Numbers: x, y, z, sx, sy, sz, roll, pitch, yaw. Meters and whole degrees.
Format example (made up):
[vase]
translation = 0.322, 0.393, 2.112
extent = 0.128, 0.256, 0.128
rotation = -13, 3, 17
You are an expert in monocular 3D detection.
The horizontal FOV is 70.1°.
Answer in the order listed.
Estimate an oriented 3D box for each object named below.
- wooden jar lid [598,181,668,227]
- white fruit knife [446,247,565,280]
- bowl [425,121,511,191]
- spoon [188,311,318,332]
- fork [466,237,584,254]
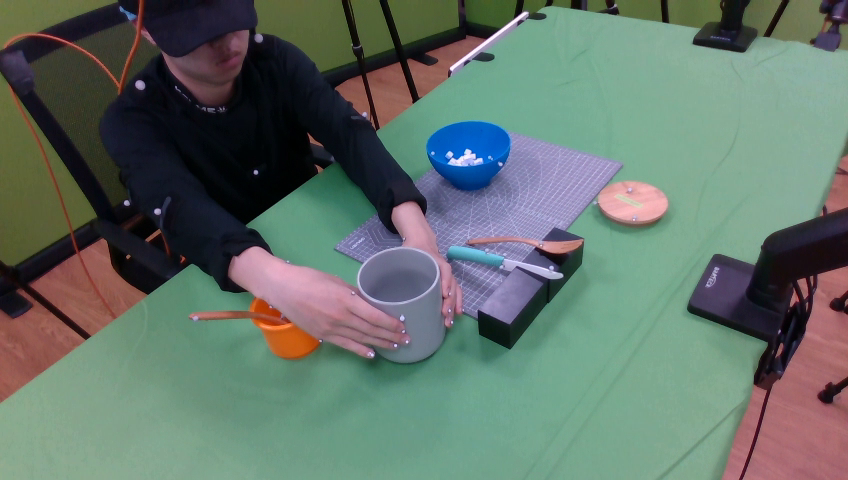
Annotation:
[wooden jar lid]
translation = 0.340, -0.058, 0.988
extent = 0.108, 0.021, 0.108
rotation = -5, 41, 5
[white fruit knife]
translation = 0.111, 0.033, 0.867
extent = 0.205, 0.027, 0.016
rotation = 11, 42, 40
[bowl]
translation = 0.081, -0.141, 1.074
extent = 0.151, 0.077, 0.150
rotation = -4, 40, 4
[spoon]
translation = -0.216, 0.102, 0.783
extent = 0.041, 0.195, 0.021
rotation = 25, 95, 39
[fork]
translation = 0.142, 0.005, 0.894
extent = 0.205, 0.019, 0.028
rotation = 4, 44, 41
